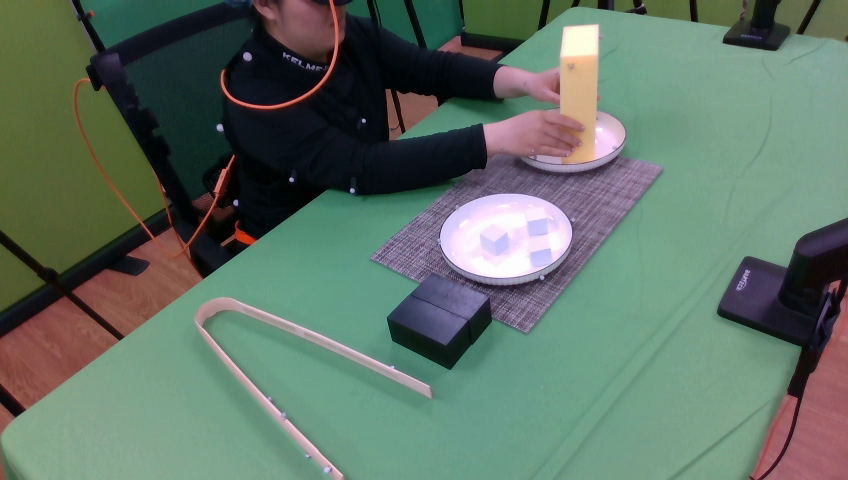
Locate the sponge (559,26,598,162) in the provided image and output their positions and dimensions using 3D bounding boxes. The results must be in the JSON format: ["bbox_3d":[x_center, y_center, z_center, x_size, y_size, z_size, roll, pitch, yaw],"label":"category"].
[{"bbox_3d":[0.274,-0.255,1.068,0.060,0.208,0.118,1,44,16],"label":"sponge"}]

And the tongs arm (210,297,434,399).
[{"bbox_3d":[-0.153,0.143,0.837,0.385,0.028,0.028,16,49,28],"label":"tongs arm"}]

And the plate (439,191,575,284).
[{"bbox_3d":[0.129,-0.001,0.942,0.207,0.039,0.206,-5,40,5],"label":"plate"}]

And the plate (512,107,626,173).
[{"bbox_3d":[0.269,-0.185,1.132,0.209,0.038,0.208,-5,40,5],"label":"plate"}]

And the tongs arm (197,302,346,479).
[{"bbox_3d":[-0.206,0.185,0.791,0.381,0.026,0.051,28,52,37],"label":"tongs arm"}]
